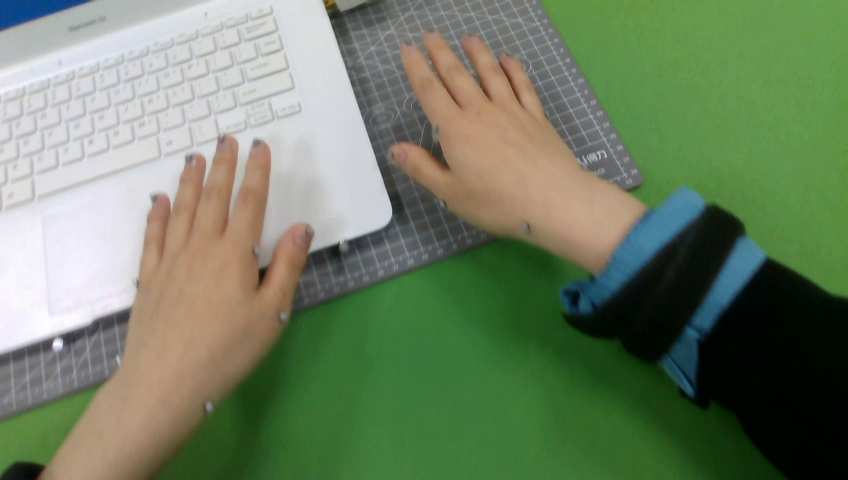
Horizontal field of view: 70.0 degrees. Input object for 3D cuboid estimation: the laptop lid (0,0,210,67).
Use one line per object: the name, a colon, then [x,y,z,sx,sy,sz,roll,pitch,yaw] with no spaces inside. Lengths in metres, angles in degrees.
laptop lid: [-0.280,-0.241,0.402,0.357,0.244,0.013,-19,40,0]

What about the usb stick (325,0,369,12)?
usb stick: [-0.055,-0.191,0.453,0.059,0.027,0.021,-20,67,11]

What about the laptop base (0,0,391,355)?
laptop base: [-0.219,-0.054,0.432,0.354,0.023,0.233,-19,69,-1]
